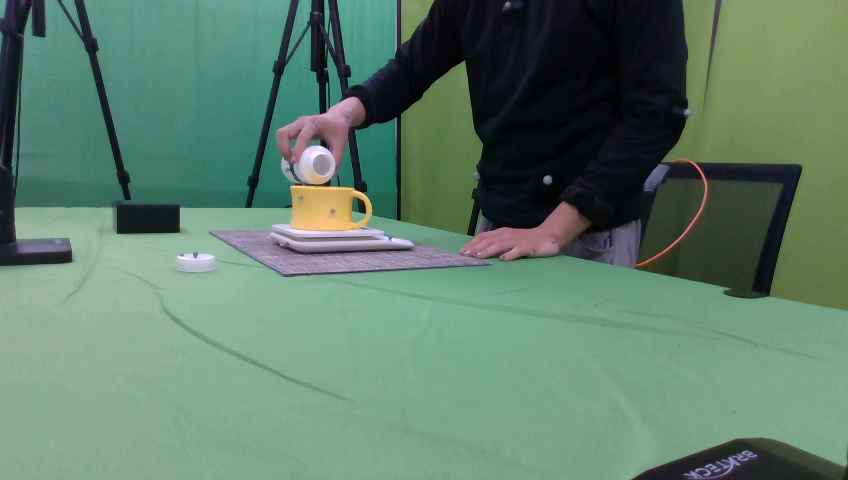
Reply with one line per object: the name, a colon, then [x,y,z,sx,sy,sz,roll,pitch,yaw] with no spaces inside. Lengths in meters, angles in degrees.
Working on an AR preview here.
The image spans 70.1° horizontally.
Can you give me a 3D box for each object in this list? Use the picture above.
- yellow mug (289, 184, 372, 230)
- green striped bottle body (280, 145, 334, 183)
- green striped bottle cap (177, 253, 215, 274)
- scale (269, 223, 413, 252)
yellow mug: [-0.145,-0.052,0.944,0.131,0.064,0.100,4,7,9]
green striped bottle body: [-0.193,-0.127,1.014,0.063,0.063,0.118,-2,7,-31]
green striped bottle cap: [-0.279,0.028,0.741,0.044,0.020,0.044,5,6,0]
scale: [-0.132,-0.007,0.965,0.202,0.031,0.148,-2,8,-31]
